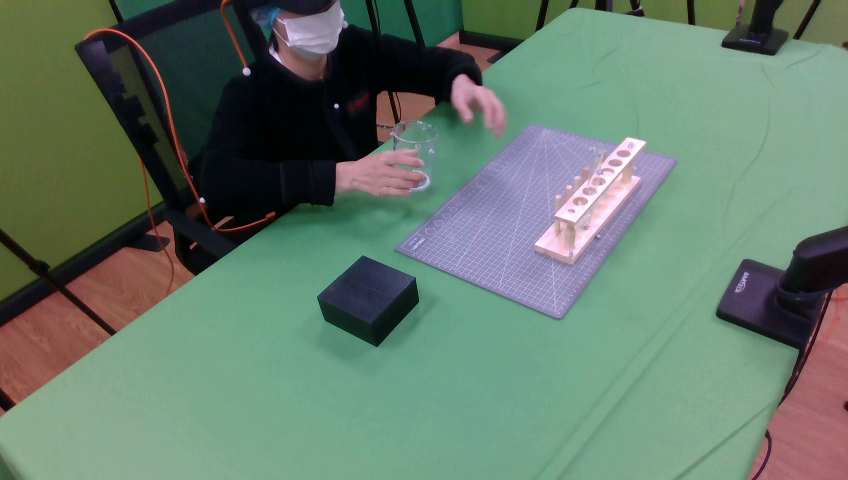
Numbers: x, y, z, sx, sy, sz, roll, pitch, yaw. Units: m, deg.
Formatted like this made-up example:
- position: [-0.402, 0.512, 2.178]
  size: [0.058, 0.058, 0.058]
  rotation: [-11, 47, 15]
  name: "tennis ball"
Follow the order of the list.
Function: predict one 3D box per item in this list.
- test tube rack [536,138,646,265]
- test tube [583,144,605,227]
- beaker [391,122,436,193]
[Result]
- position: [0.268, -0.071, 0.964]
  size: [0.066, 0.085, 0.243]
  rotation: [23, 49, 32]
  name: "test tube rack"
- position: [0.251, -0.077, 0.896]
  size: [0.017, 0.151, 0.017]
  rotation: [-3, 43, 3]
  name: "test tube"
- position: [-0.018, -0.136, 1.004]
  size: [0.073, 0.100, 0.084]
  rotation: [17, 40, 15]
  name: "beaker"
